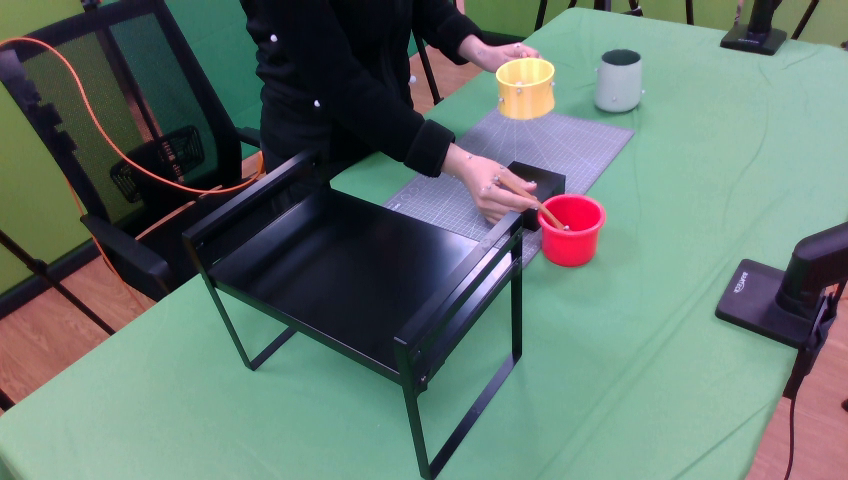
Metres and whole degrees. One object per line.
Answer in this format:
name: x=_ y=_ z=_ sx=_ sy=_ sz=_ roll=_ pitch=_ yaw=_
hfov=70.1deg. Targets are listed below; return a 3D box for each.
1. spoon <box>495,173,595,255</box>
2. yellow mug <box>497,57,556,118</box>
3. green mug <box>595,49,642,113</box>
spoon: x=0.182 y=-0.041 z=0.903 sx=0.194 sy=0.021 sz=0.041 roll=41 pitch=48 yaw=-13
yellow mug: x=0.182 y=-0.277 z=1.066 sx=0.099 sy=0.064 sz=0.130 roll=1 pitch=42 yaw=13
green mug: x=0.397 y=-0.333 z=1.240 sx=0.092 sy=0.105 sz=0.125 roll=-3 pitch=41 yaw=7
